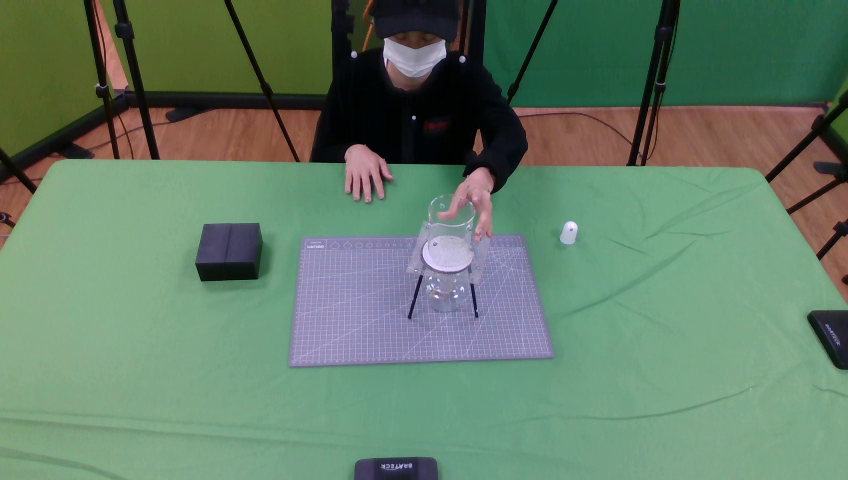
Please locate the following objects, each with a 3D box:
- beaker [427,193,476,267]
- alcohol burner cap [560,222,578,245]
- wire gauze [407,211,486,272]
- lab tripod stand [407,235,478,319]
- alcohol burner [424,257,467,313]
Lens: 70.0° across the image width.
[{"bbox_3d":[0.039,-0.011,0.972,0.084,0.101,0.073,-30,53,-28],"label":"beaker"},{"bbox_3d":[0.295,-0.016,1.224,0.034,0.048,0.033,2,47,-1],"label":"alcohol burner cap"},{"bbox_3d":[0.036,0.004,1.003,0.125,0.011,0.120,-6,49,-3],"label":"wire gauze"},{"bbox_3d":[0.032,0.065,1.057,0.148,0.132,0.147,1,45,-1],"label":"lab tripod stand"},{"bbox_3d":[0.038,0.072,1.064,0.078,0.120,0.077,1,47,-1],"label":"alcohol burner"}]
